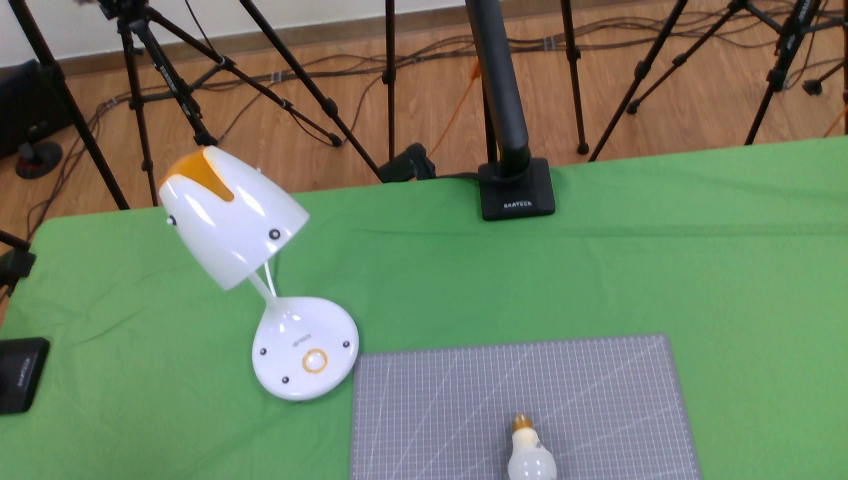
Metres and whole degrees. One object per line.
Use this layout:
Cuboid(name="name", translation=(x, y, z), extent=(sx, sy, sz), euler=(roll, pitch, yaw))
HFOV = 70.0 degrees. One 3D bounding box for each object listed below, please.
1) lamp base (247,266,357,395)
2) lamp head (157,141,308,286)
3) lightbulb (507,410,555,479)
Cuboid(name="lamp base", translation=(-0.197, 0.107, 0.846), extent=(0.160, 0.182, 0.177), euler=(-41, 59, -16))
Cuboid(name="lamp head", translation=(-0.193, -0.033, 0.587), extent=(0.123, 0.112, 0.112), euler=(47, 71, -11))
Cuboid(name="lightbulb", translation=(0.132, 0.266, 0.778), extent=(0.059, 0.060, 0.106), euler=(-10, 43, 3))
